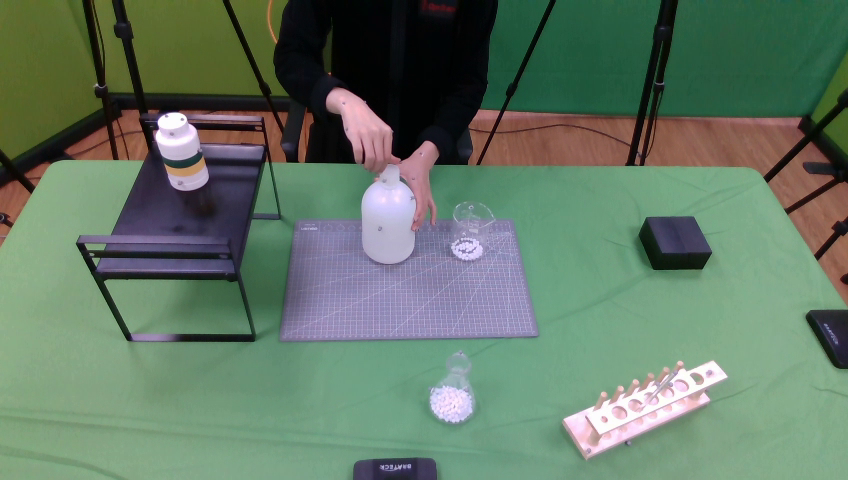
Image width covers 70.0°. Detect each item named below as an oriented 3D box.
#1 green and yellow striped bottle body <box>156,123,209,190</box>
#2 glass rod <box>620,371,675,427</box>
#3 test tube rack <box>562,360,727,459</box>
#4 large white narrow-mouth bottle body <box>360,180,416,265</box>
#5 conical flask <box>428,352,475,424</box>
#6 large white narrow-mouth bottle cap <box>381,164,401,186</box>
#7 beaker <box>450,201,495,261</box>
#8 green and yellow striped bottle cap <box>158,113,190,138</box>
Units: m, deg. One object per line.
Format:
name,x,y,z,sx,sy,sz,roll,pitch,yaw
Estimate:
green and yellow striped bottle body,-0.395,-0.145,0.989,0.063,0.120,0.063,2,46,-2
glass rod,0.316,0.230,0.863,0.008,0.200,0.008,3,54,-3
test tube rack,0.341,0.247,0.940,0.243,0.085,0.066,-16,49,-18
large white narrow-mouth bottle body,-0.066,-0.050,1.119,0.102,0.195,0.101,4,45,-4
conical flask,0.046,0.220,0.920,0.075,0.122,0.075,2,46,-2
large white narrow-mouth bottle cap,-0.057,-0.114,1.053,0.038,0.024,0.037,4,45,-4
beaker,0.089,-0.014,1.160,0.084,0.101,0.073,9,47,4
green and yellow striped bottle cap,-0.393,-0.180,0.951,0.045,0.020,0.045,2,44,-2
